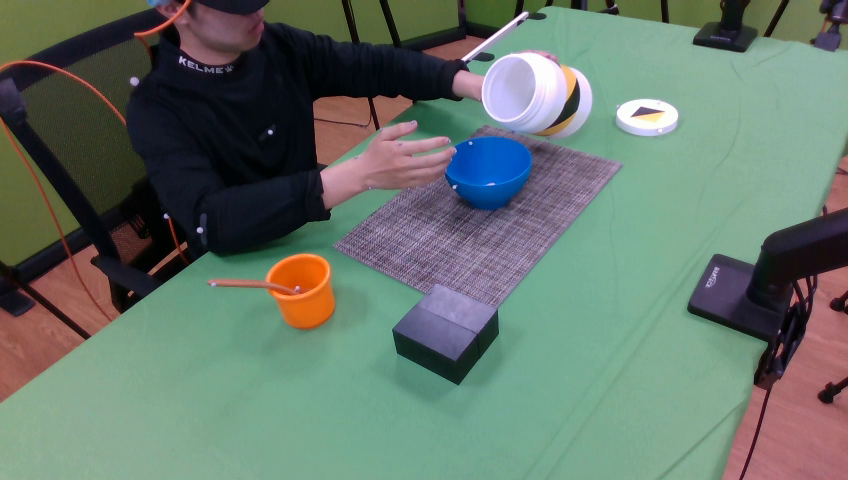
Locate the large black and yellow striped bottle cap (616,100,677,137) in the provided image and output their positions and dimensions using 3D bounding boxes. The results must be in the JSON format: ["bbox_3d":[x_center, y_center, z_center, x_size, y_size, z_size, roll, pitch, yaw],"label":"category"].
[{"bbox_3d":[0.438,-0.241,1.190,0.115,0.019,0.114,-4,42,4],"label":"large black and yellow striped bottle cap"}]

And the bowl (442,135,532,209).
[{"bbox_3d":[0.108,-0.106,1.026,0.151,0.077,0.150,-4,41,4],"label":"bowl"}]

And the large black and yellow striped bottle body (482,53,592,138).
[{"bbox_3d":[0.196,-0.250,1.050,0.129,0.131,0.185,29,20,35],"label":"large black and yellow striped bottle body"}]

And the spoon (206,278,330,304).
[{"bbox_3d":[-0.207,0.066,0.824,0.041,0.195,0.021,33,99,41],"label":"spoon"}]
